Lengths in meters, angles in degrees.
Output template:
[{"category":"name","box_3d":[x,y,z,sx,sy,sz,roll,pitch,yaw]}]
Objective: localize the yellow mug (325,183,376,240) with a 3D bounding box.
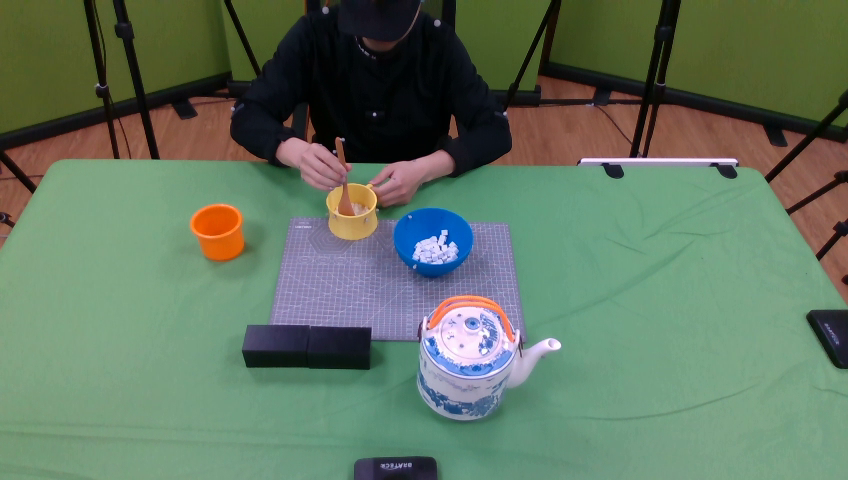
[{"category":"yellow mug","box_3d":[-0.137,-0.068,1.217,0.099,0.064,0.130,24,49,17]}]

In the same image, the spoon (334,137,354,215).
[{"category":"spoon","box_3d":[-0.153,-0.110,1.139,0.041,0.194,0.021,20,41,25]}]

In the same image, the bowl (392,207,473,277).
[{"category":"bowl","box_3d":[0.014,0.016,1.140,0.151,0.077,0.150,2,46,-2]}]

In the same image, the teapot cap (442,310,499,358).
[{"category":"teapot cap","box_3d":[0.068,0.133,0.880,0.085,0.044,0.084,4,45,-4]}]

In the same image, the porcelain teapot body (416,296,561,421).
[{"category":"porcelain teapot body","box_3d":[0.094,0.164,0.907,0.205,0.226,0.144,6,45,1]}]
